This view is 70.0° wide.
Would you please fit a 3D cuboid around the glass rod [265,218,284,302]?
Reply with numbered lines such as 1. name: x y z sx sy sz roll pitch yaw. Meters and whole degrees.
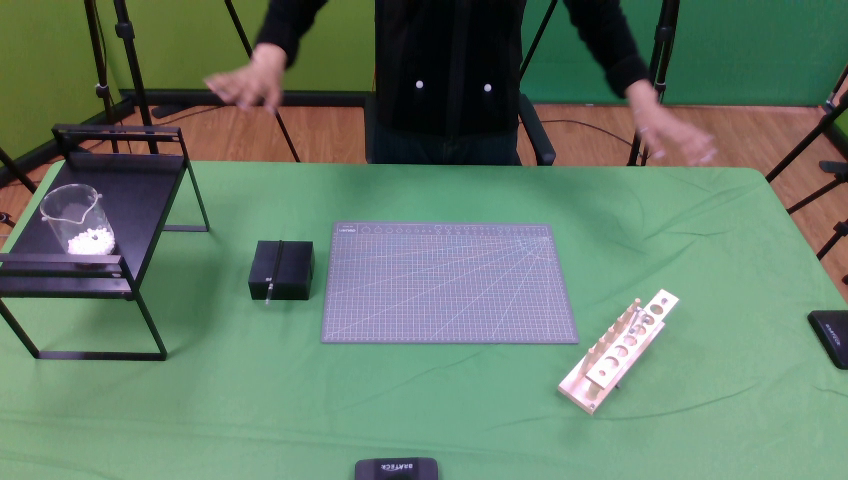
1. glass rod: -0.266 0.031 1.084 0.008 0.008 0.198 1 46 -3

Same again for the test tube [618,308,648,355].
1. test tube: 0.327 0.154 0.956 0.017 0.151 0.017 -1 50 1

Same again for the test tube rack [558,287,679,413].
1. test tube rack: 0.326 0.170 1.009 0.066 0.085 0.242 36 54 27

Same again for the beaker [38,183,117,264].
1. beaker: -0.494 -0.019 0.874 0.074 0.101 0.083 -29 55 -27
